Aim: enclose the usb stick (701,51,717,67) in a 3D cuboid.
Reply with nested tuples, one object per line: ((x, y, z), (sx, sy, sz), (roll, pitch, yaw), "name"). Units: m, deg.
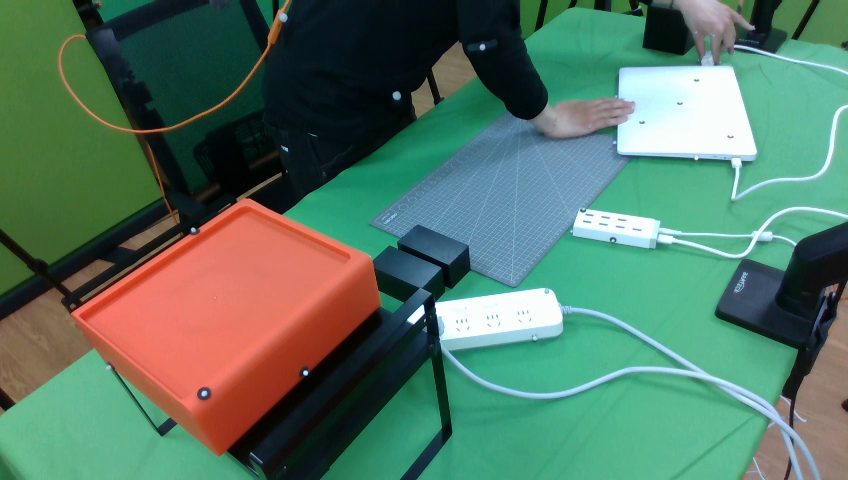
((0.625, -0.391, 1.330), (0.021, 0.027, 0.059), (-6, 38, 43), "usb stick")

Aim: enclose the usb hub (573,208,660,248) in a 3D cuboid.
((0.302, -0.019, 0.950), (0.124, 0.025, 0.049), (11, 43, 20), "usb hub")

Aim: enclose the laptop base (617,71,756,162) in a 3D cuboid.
((0.507, -0.254, 1.206), (0.235, 0.023, 0.353), (3, 40, 15), "laptop base")

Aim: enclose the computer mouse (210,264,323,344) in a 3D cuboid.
((-0.164, 0.062, 0.624), (0.116, 0.041, 0.063), (22, 44, 27), "computer mouse")

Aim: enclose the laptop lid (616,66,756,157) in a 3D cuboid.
((0.504, -0.265, 1.197), (0.241, 0.013, 0.356), (4, 41, 17), "laptop lid")

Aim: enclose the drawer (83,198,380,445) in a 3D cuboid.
((-0.184, 0.066, 0.600), (0.193, 0.073, 0.212), (24, 50, 31), "drawer")

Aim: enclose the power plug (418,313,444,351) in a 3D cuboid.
((0.007, 0.127, 0.786), (0.035, 0.053, 0.072), (0, 43, 8), "power plug")

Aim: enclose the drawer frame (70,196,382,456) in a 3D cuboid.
((-0.186, 0.068, 0.597), (0.200, 0.083, 0.214), (23, 49, 30), "drawer frame")

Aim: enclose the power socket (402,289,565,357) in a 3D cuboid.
((0.081, 0.112, 0.822), (0.227, 0.033, 0.072), (-7, 41, -1), "power socket")
